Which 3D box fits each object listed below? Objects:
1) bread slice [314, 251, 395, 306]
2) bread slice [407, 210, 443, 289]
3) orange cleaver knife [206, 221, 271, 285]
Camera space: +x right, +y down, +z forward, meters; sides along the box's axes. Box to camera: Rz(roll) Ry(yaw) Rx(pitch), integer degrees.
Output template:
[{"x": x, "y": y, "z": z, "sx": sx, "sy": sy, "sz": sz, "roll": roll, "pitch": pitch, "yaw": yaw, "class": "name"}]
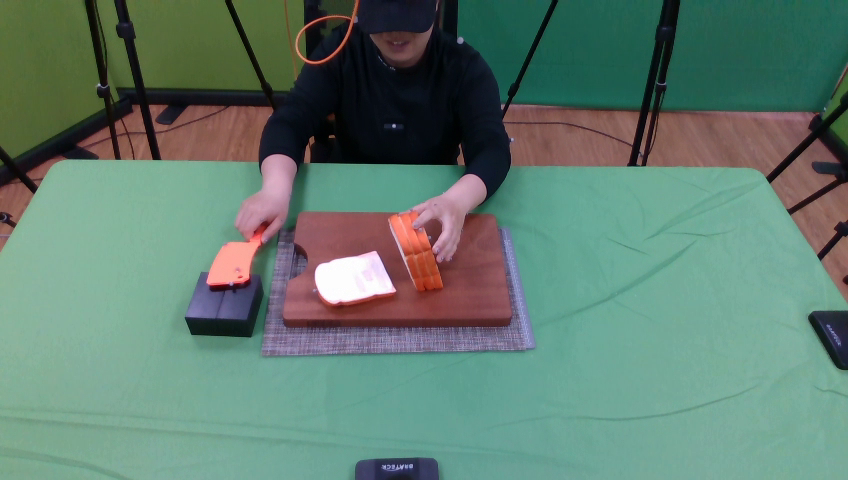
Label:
[{"x": -0.130, "y": 0.071, "z": 1.078, "sx": 0.132, "sy": 0.019, "sz": 0.104, "roll": -11, "pitch": 49, "yaw": -21, "class": "bread slice"}, {"x": 0.000, "y": 0.013, "z": 1.073, "sx": 0.018, "sy": 0.135, "sz": 0.106, "roll": -21, "pitch": 51, "yaw": -3, "class": "bread slice"}, {"x": -0.337, "y": 0.020, "z": 1.117, "sx": 0.077, "sy": 0.012, "sz": 0.210, "roll": 3, "pitch": 32, "yaw": 2, "class": "orange cleaver knife"}]
